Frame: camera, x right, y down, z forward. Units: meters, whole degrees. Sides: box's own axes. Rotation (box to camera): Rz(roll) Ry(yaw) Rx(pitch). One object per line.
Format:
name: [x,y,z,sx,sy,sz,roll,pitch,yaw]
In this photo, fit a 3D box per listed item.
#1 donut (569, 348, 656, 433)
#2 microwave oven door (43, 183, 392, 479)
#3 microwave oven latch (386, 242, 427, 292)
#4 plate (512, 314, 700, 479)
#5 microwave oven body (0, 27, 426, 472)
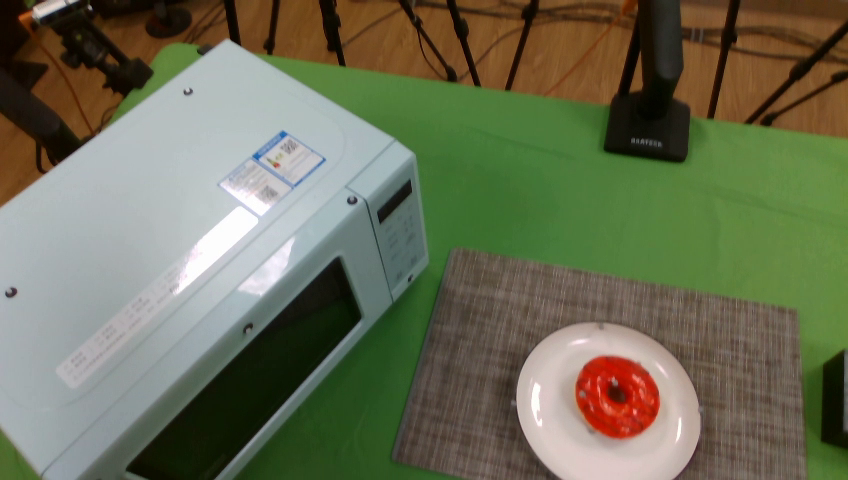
donut: [0.218,0.173,0.702,0.099,0.048,0.098,-1,61,1]
microwave oven door: [-0.175,0.128,0.636,0.039,0.246,0.355,33,67,22]
microwave oven latch: [-0.028,0.030,0.802,0.030,0.030,0.079,34,68,21]
plate: [0.208,0.188,0.707,0.209,0.038,0.207,-2,59,3]
microwave oven body: [-0.261,0.026,0.708,0.324,0.262,0.441,34,68,21]
